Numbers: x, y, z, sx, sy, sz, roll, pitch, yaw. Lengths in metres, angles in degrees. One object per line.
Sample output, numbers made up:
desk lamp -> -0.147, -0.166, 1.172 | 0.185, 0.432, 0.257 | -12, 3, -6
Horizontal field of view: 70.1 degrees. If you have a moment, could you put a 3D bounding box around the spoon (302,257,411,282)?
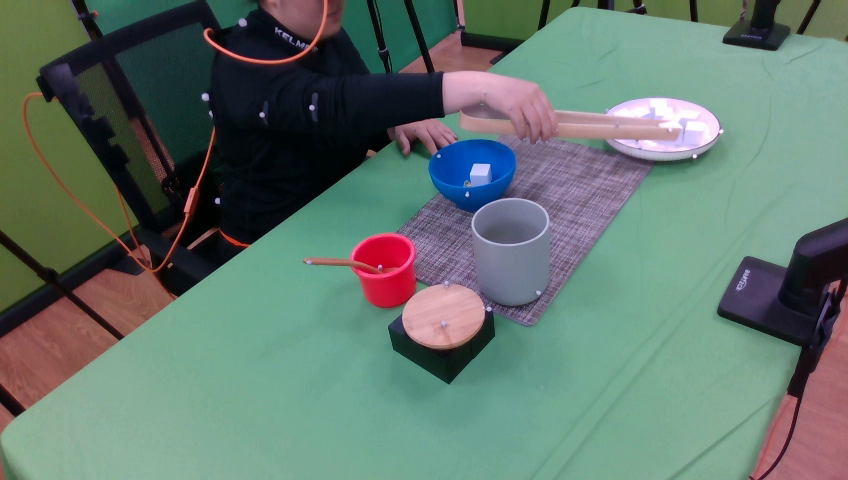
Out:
spoon -> -0.092, 0.038, 0.865 | 0.195, 0.021, 0.041 | 16, 15, -46

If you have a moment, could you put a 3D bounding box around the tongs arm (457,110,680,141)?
tongs arm -> 0.250, -0.197, 1.041 | 0.386, 0.026, 0.050 | 0, 37, -9

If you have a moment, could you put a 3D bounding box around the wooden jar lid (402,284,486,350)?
wooden jar lid -> 0.026, 0.101, 0.786 | 0.108, 0.021, 0.108 | -5, 39, 4

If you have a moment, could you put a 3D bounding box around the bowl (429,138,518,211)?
bowl -> 0.087, -0.104, 1.043 | 0.151, 0.077, 0.150 | -5, 40, 5

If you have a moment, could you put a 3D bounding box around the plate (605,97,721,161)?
plate -> 0.436, -0.203, 1.126 | 0.209, 0.038, 0.208 | -5, 39, 5

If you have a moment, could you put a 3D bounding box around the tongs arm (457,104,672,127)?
tongs arm -> 0.249, -0.211, 1.060 | 0.388, 0.028, 0.028 | 2, 40, -6

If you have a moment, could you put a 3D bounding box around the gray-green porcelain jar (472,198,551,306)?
gray-green porcelain jar -> 0.125, 0.021, 0.850 | 0.106, 0.127, 0.105 | -6, 40, 5
